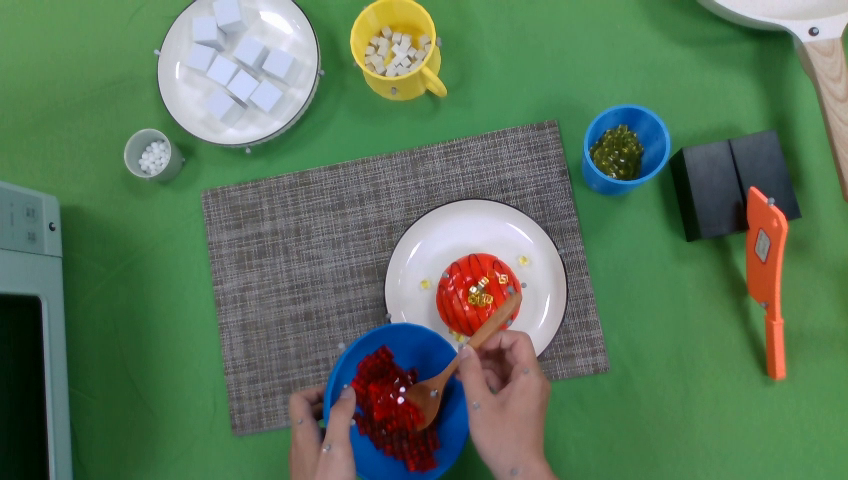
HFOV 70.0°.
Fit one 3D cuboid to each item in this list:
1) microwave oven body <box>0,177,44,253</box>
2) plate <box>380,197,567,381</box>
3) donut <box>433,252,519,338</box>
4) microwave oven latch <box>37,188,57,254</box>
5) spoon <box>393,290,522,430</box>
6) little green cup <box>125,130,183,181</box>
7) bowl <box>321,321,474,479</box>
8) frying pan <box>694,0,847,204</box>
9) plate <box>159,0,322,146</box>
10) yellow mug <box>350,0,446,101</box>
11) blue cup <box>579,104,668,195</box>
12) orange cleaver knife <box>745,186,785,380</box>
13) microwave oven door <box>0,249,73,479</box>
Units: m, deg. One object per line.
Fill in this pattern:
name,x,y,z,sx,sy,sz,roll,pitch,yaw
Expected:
microwave oven body,-0.609,0.158,0.644,0.326,0.261,0.440,-7,83,5
plate,0.056,0.056,0.695,0.209,0.038,0.208,-1,84,6
donut,0.059,0.063,0.682,0.099,0.048,0.099,0,87,7
microwave oven latch,-0.473,-0.023,0.747,0.030,0.029,0.079,-5,84,5
spoon,0.030,0.115,0.568,0.041,0.022,0.194,50,122,22
little green cup,-0.335,-0.103,0.758,0.061,0.039,0.061,-1,84,5
bowl,-0.037,0.158,0.592,0.152,0.076,0.150,7,74,-26
frying pan,0.414,-0.270,0.662,0.306,0.103,0.485,-5,75,7
plate,-0.226,-0.216,0.760,0.207,0.039,0.207,-1,83,6
yellow mug,-0.022,-0.216,0.724,0.130,0.064,0.100,43,89,8
blue cup,0.210,-0.090,0.666,0.092,0.100,0.092,-1,82,5
orange cleaver knife,0.361,0.048,0.644,0.012,0.076,0.213,-12,111,5
microwave oven door,-0.461,0.181,0.620,0.039,0.244,0.354,-8,82,6
